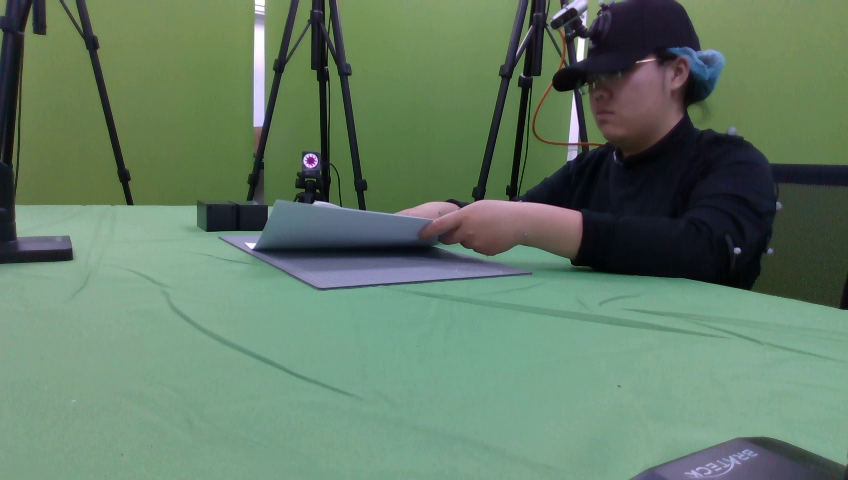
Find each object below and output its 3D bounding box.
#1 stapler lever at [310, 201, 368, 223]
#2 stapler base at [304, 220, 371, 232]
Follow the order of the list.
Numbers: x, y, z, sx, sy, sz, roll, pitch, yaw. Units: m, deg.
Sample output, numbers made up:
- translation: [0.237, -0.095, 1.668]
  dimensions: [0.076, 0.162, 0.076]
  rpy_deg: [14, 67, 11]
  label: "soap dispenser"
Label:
- translation: [-0.166, -0.054, 1.185]
  dimensions: [0.119, 0.040, 0.026]
  rpy_deg: [0, 9, -33]
  label: "stapler lever"
- translation: [-0.169, -0.029, 1.186]
  dimensions: [0.131, 0.024, 0.041]
  rpy_deg: [0, 9, -33]
  label: "stapler base"
